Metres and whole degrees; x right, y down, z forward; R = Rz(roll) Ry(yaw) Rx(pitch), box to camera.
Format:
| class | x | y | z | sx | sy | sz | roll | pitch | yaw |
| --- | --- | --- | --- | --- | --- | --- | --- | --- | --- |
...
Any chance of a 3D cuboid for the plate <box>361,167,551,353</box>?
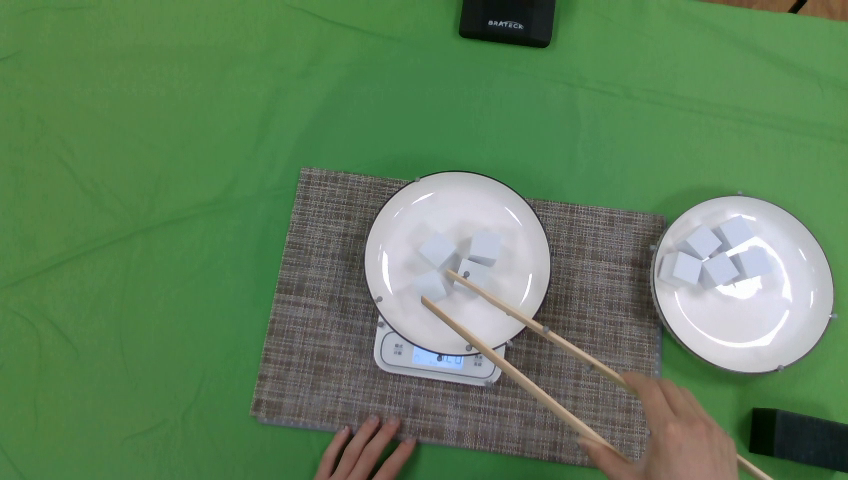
| class | x | y | z | sx | sy | sz | roll | pitch | yaw |
| --- | --- | --- | --- | --- | --- | --- | --- | --- | --- |
| plate | 0.035 | 0.021 | 0.675 | 0.209 | 0.038 | 0.208 | 0 | 78 | -1 |

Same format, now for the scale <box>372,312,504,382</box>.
| class | x | y | z | sx | sy | sz | roll | pitch | yaw |
| --- | --- | --- | --- | --- | --- | --- | --- | --- | --- |
| scale | 0.026 | 0.056 | 0.702 | 0.148 | 0.032 | 0.200 | 8 | 78 | 2 |

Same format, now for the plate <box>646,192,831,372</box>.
| class | x | y | z | sx | sy | sz | roll | pitch | yaw |
| --- | --- | --- | --- | --- | --- | --- | --- | --- | --- |
| plate | 0.359 | 0.049 | 0.706 | 0.208 | 0.039 | 0.206 | 0 | 77 | 0 |

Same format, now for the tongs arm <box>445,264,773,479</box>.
| class | x | y | z | sx | sy | sz | roll | pitch | yaw |
| --- | --- | --- | --- | --- | --- | --- | --- | --- | --- |
| tongs arm | 0.164 | 0.139 | 0.547 | 0.382 | 0.027 | 0.050 | 31 | 70 | 19 |

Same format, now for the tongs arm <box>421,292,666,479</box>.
| class | x | y | z | sx | sy | sz | roll | pitch | yaw |
| --- | --- | --- | --- | --- | --- | --- | --- | --- | --- |
| tongs arm | 0.147 | 0.158 | 0.539 | 0.385 | 0.028 | 0.028 | 35 | 68 | 20 |
